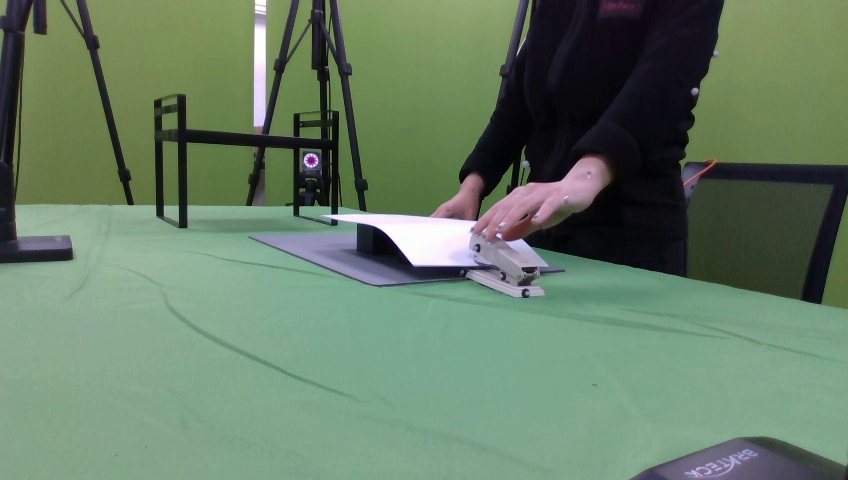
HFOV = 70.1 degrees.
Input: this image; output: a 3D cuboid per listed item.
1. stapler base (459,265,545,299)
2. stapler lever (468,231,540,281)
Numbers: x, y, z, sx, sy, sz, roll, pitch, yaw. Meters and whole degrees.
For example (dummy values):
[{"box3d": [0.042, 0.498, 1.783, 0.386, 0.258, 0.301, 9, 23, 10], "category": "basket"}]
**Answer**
[{"box3d": [0.087, 0.041, 0.705, 0.041, 0.024, 0.130, -4, 13, -26], "category": "stapler base"}, {"box3d": [0.089, 0.017, 0.700, 0.027, 0.040, 0.117, -4, 12, -26], "category": "stapler lever"}]
